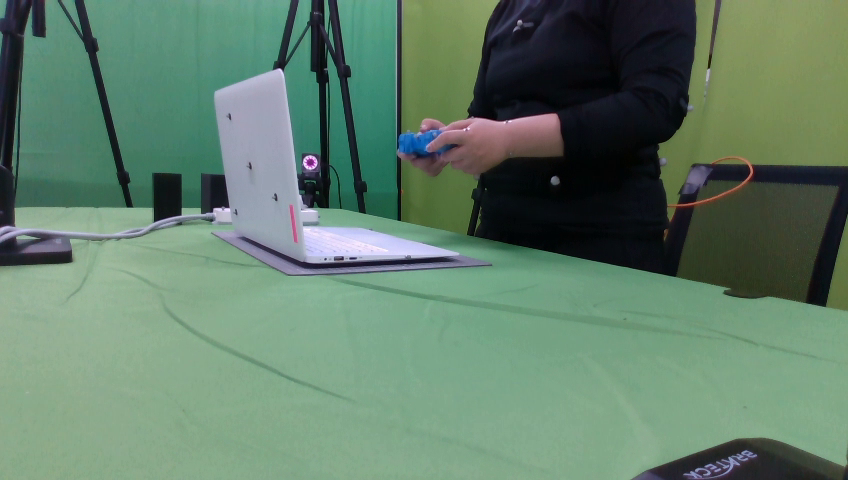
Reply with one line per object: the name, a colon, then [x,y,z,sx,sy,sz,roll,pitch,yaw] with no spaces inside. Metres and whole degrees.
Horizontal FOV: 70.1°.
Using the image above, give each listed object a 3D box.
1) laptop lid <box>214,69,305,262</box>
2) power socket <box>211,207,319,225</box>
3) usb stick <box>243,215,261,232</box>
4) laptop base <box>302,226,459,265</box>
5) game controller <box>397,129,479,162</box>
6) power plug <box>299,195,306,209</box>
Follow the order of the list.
laptop lid: [-0.246,-0.107,0.865,0.013,0.241,0.355,-11,14,-30]
power socket: [-0.334,-0.051,1.281,0.228,0.032,0.072,-1,9,-29]
usb stick: [-0.302,-0.029,1.071,0.021,0.027,0.059,0,11,-30]
laptop base: [-0.136,0.006,0.951,0.237,0.023,0.352,2,6,-32]
game controller: [0.020,-0.165,1.041,0.097,0.051,0.154,5,3,-29]
power plug: [-0.283,-0.075,1.342,0.035,0.052,0.072,0,4,-18]
